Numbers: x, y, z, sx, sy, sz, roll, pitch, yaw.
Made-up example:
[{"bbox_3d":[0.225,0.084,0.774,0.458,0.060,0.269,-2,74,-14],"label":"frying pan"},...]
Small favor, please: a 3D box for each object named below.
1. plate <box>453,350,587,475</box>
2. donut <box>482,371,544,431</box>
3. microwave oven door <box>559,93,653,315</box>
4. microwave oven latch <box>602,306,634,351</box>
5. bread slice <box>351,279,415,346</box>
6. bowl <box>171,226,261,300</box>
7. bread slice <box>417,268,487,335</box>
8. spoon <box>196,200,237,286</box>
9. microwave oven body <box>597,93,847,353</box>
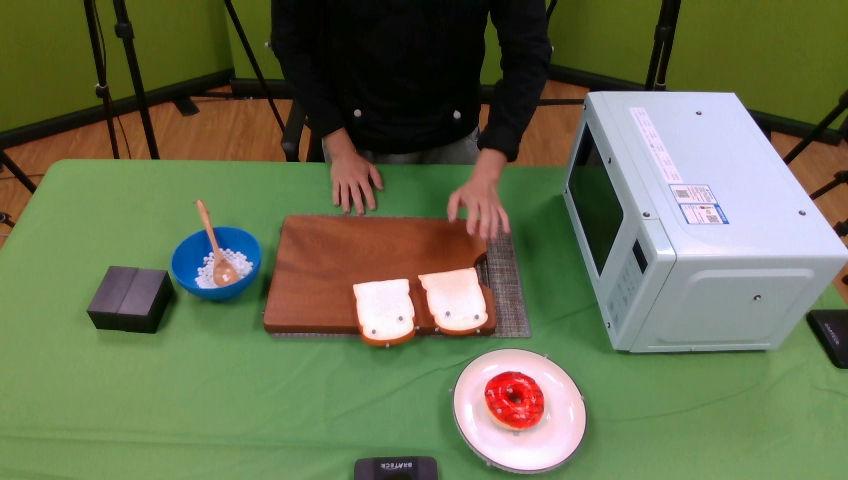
[{"bbox_3d":[0.147,0.267,0.943,0.208,0.039,0.206,2,46,-2],"label":"plate"},{"bbox_3d":[0.139,0.250,0.942,0.099,0.048,0.098,5,45,-4],"label":"donut"},{"bbox_3d":[0.327,-0.074,1.123,0.039,0.245,0.353,-1,46,-5],"label":"microwave oven door"},{"bbox_3d":[0.332,0.153,1.044,0.030,0.029,0.078,0,45,-4],"label":"microwave oven latch"},{"bbox_3d":[-0.067,0.122,1.040,0.105,0.019,0.130,-7,47,-9],"label":"bread slice"},{"bbox_3d":[-0.363,0.054,1.081,0.151,0.077,0.150,2,45,-2],"label":"bowl"},{"bbox_3d":[0.055,0.107,1.063,0.107,0.018,0.133,-9,48,-12],"label":"bread slice"},{"bbox_3d":[-0.377,0.003,1.086,0.042,0.022,0.193,-15,67,-24],"label":"spoon"},{"bbox_3d":[0.475,-0.041,1.109,0.326,0.261,0.438,-1,45,-4],"label":"microwave oven body"}]
